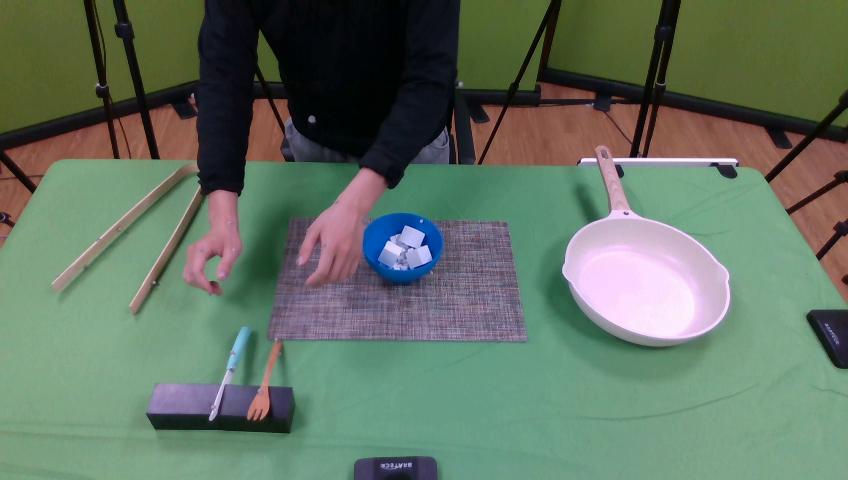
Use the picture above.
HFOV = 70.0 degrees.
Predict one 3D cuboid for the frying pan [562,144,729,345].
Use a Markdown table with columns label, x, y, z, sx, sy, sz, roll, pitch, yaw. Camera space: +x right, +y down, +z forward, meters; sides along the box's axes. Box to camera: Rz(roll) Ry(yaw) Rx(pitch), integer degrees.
| label | x | y | z | sx | sy | sz | roll | pitch | yaw |
| --- | --- | --- | --- | --- | --- | --- | --- | --- | --- |
| frying pan | 0.396 | -0.008 | 1.179 | 0.307 | 0.103 | 0.484 | 1 | 55 | -4 |

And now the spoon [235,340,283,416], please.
| label | x | y | z | sx | sy | sz | roll | pitch | yaw |
| --- | --- | --- | --- | --- | --- | --- | --- | --- | --- |
| spoon | -0.245 | 0.207 | 0.932 | 0.042 | 0.022 | 0.193 | 30 | 24 | -9 |

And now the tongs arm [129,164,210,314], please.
| label | x | y | z | sx | sy | sz | roll | pitch | yaw |
| --- | --- | --- | --- | --- | --- | --- | --- | --- | --- |
| tongs arm | -0.483 | -0.016 | 1.170 | 0.028 | 0.028 | 0.385 | 5 | 46 | 4 |

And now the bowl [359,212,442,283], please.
| label | x | y | z | sx | sy | sz | roll | pitch | yaw |
| --- | --- | --- | --- | --- | --- | --- | --- | --- | --- |
| bowl | -0.044 | 0.026 | 1.125 | 0.151 | 0.077 | 0.150 | 2 | 46 | -2 |

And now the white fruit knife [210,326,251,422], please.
| label | x | y | z | sx | sy | sz | roll | pitch | yaw |
| --- | --- | --- | --- | --- | --- | --- | --- | --- | --- |
| white fruit knife | -0.300 | 0.201 | 0.942 | 0.016 | 0.027 | 0.206 | -2 | 32 | 1 |

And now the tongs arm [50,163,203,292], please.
| label | x | y | z | sx | sy | sz | roll | pitch | yaw |
| --- | --- | --- | --- | --- | --- | --- | --- | --- | --- |
| tongs arm | -0.561 | -0.036 | 1.178 | 0.050 | 0.026 | 0.383 | 17 | 46 | 11 |
